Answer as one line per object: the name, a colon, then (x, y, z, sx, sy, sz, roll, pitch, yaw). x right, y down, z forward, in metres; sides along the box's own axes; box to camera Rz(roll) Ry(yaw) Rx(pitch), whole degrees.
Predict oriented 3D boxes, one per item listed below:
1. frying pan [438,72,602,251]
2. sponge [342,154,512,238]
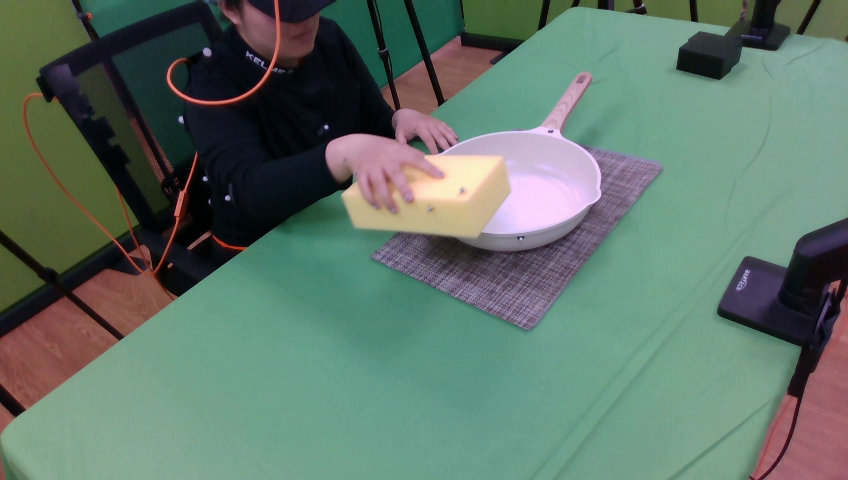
frying pan: (0.199, -0.155, 1.062, 0.304, 0.103, 0.488, 19, 56, 28)
sponge: (0.004, -0.068, 0.859, 0.205, 0.061, 0.118, 5, 39, 31)
